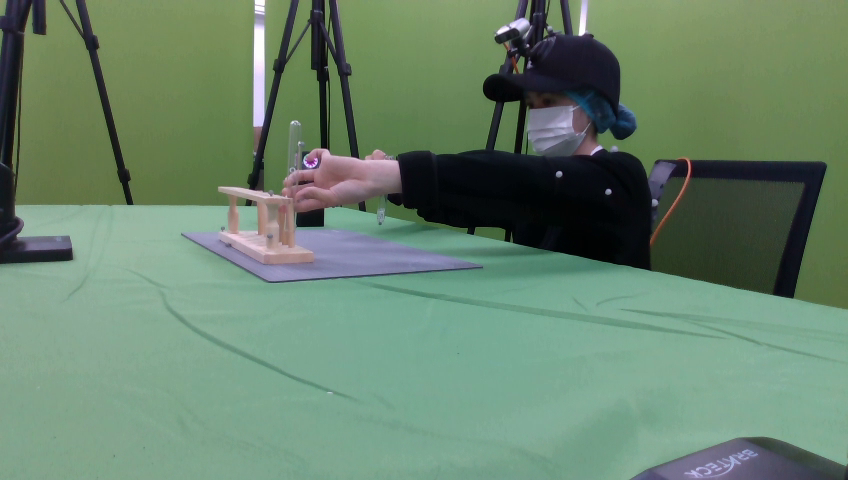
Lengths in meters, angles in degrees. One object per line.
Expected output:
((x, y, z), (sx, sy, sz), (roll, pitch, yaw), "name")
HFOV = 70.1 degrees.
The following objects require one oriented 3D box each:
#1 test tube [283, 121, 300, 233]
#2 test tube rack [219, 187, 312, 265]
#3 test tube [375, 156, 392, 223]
((-0.178, -0.084, 0.814), (0.017, 0.150, 0.017), (5, 7, 0), "test tube")
((-0.235, -0.027, 0.872), (0.067, 0.085, 0.241), (-1, 8, -31), "test tube rack")
((-0.074, -0.088, 1.088), (0.017, 0.150, 0.017), (7, 44, -6), "test tube")
